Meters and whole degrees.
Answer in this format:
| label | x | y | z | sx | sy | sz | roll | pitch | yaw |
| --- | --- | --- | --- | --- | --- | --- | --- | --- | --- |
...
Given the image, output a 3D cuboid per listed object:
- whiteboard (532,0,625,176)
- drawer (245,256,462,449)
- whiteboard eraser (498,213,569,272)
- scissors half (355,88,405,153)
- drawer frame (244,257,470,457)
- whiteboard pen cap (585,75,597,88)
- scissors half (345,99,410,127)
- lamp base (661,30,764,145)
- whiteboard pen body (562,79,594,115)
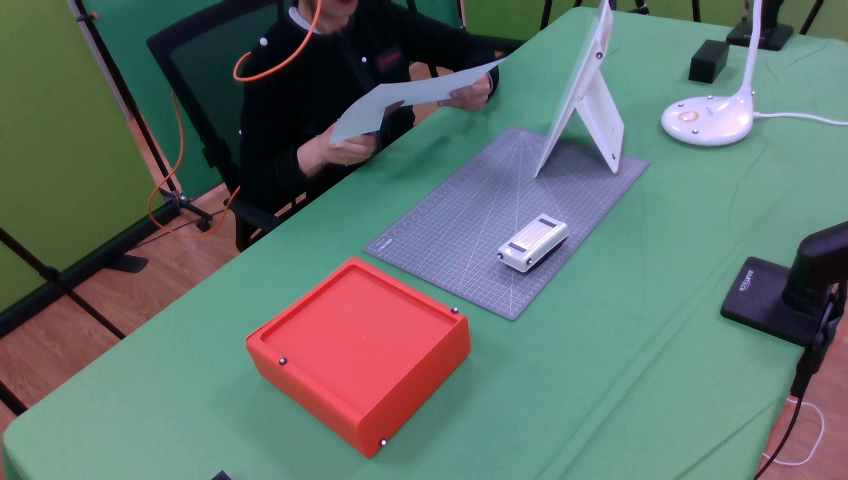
| label | x | y | z | sx | sy | sz | roll | pitch | yaw |
| --- | --- | --- | --- | --- | --- | --- | --- | --- | --- |
| whiteboard | 0.320 | -0.259 | 1.050 | 0.144 | 0.306 | 0.217 | 21 | 45 | 5 |
| drawer | -0.089 | 0.136 | 0.792 | 0.210 | 0.073 | 0.195 | 26 | 51 | 34 |
| whiteboard eraser | 0.168 | 0.006 | 0.924 | 0.113 | 0.042 | 0.055 | -36 | 48 | -28 |
| scissors half | -0.080 | -0.219 | 1.120 | 0.013 | 0.174 | 0.040 | -26 | 74 | -47 |
| drawer frame | -0.084 | 0.138 | 0.788 | 0.212 | 0.083 | 0.202 | 25 | 50 | 33 |
| whiteboard pen cap | 0.362 | -0.343 | 1.310 | 0.018 | 0.018 | 0.033 | 19 | 54 | 29 |
| scissors half | -0.089 | -0.241 | 1.121 | 0.174 | 0.040 | 0.013 | -2 | 12 | 42 |
| lamp base | 0.535 | -0.287 | 1.096 | 0.179 | 0.181 | 0.159 | -10 | 40 | -4 |
| whiteboard pen body | 0.328 | -0.306 | 1.278 | 0.017 | 0.017 | 0.141 | 20 | 52 | 30 |
